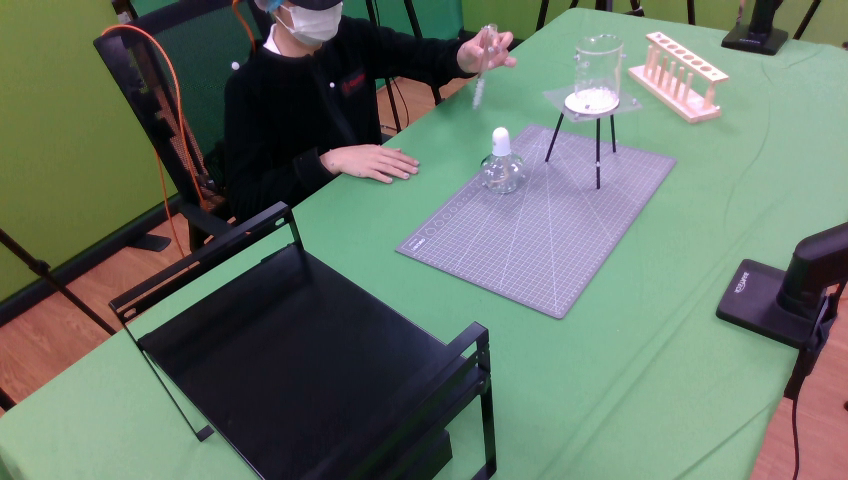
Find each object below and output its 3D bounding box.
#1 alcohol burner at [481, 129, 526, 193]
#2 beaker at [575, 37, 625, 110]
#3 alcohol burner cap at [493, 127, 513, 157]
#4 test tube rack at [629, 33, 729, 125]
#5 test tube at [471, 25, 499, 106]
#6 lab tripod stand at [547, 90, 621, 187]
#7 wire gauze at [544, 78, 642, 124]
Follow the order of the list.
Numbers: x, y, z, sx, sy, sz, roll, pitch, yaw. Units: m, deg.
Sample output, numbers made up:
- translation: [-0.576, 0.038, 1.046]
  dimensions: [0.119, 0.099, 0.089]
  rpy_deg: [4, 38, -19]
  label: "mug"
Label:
- translation: [0.138, -0.142, 1.052]
  dimensions: [0.078, 0.119, 0.077]
  rpy_deg: [-5, 42, 5]
  label: "alcohol burner"
- translation: [0.283, -0.271, 0.988]
  dimensions: [0.074, 0.101, 0.083]
  rpy_deg: [-10, 39, 1]
  label: "beaker"
- translation: [0.132, -0.169, 1.030]
  dimensions: [0.034, 0.048, 0.033]
  rpy_deg: [-7, 36, 5]
  label: "alcohol burner cap"
- translation: [0.516, -0.337, 1.247]
  dimensions: [0.067, 0.085, 0.240]
  rpy_deg: [-14, 41, -7]
  label: "test tube rack"
- translation: [0.106, -0.306, 1.072]
  dimensions: [0.017, 0.150, 0.017]
  rpy_deg: [8, 41, -7]
  label: "test tube"
- translation: [0.289, -0.184, 1.062]
  dimensions: [0.148, 0.132, 0.147]
  rpy_deg: [-6, 41, 6]
  label: "lab tripod stand"
- translation: [0.282, -0.234, 1.021]
  dimensions: [0.125, 0.011, 0.120]
  rpy_deg: [-17, 38, -4]
  label: "wire gauze"
